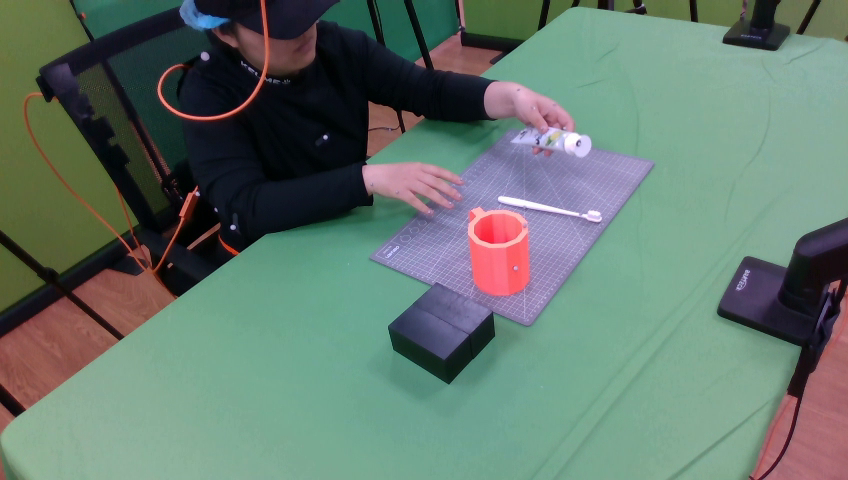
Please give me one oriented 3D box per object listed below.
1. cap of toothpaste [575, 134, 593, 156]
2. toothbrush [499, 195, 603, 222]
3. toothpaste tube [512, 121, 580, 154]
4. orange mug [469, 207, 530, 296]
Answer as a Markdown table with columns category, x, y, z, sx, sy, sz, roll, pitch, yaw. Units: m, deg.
| category | x | y | z | sx | sy | sz | roll | pitch | yaw |
| --- | --- | --- | --- | --- | --- | --- | --- | --- | --- |
| cap of toothpaste | 0.252 | -0.152 | 0.963 | 0.037 | 0.037 | 0.011 | -28 | 29 | -20 |
| toothbrush | 0.209 | -0.055 | 1.011 | 0.180 | 0.017 | 0.014 | 14 | 61 | 27 |
| toothpaste tube | 0.216 | -0.175 | 1.028 | 0.055 | 0.035 | 0.163 | -42 | 33 | -12 |
| orange mug | 0.104 | 0.008 | 0.894 | 0.084 | 0.101 | 0.125 | -22 | 46 | -14 |
